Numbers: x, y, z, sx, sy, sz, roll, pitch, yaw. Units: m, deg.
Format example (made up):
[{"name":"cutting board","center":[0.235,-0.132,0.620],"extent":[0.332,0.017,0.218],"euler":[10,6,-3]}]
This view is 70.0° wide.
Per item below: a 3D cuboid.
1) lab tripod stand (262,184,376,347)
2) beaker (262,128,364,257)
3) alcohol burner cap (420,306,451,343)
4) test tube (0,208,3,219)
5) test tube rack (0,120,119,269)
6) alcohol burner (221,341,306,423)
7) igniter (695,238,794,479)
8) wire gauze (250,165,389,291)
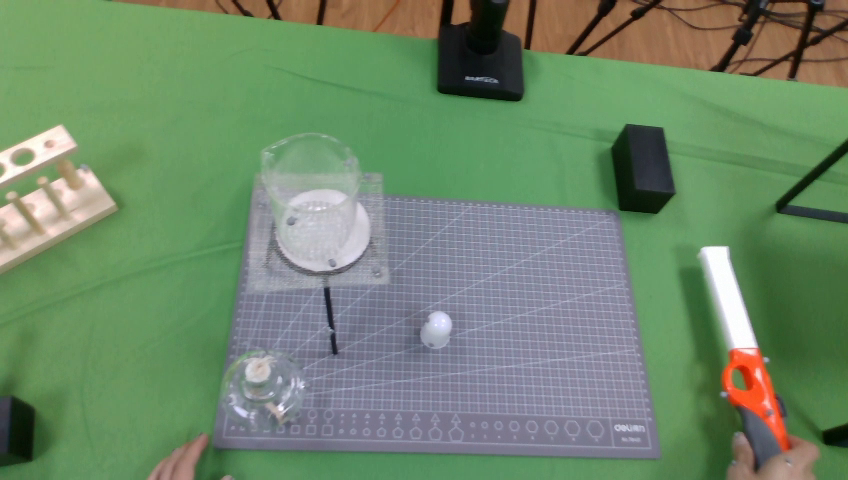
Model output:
[{"name":"lab tripod stand","center":[-0.100,0.019,0.609],"extent":[0.149,0.132,0.147],"euler":[4,63,-8]},{"name":"beaker","center":[-0.094,-0.036,0.508],"extent":[0.084,0.101,0.073],"euler":[26,62,6]},{"name":"alcohol burner cap","center":[0.013,0.088,0.642],"extent":[0.034,0.048,0.033],"euler":[2,65,-4]},{"name":"test tube","center":[-0.441,-0.064,0.578],"extent":[0.017,0.151,0.017],"euler":[4,57,-6]},{"name":"test tube rack","center":[-0.450,-0.018,0.608],"extent":[0.242,0.086,0.066],"euler":[-35,72,-23]},{"name":"alcohol burner","center":[-0.149,0.126,0.558],"extent":[0.078,0.120,0.077],"euler":[4,61,-7]},{"name":"igniter","center":[0.341,0.120,0.651],"extent":[0.057,0.025,0.274],"euler":[-1,61,-1]},{"name":"wire gauze","center":[-0.096,-0.015,0.553],"extent":[0.122,0.011,0.124],"euler":[-2,67,-7]}]
